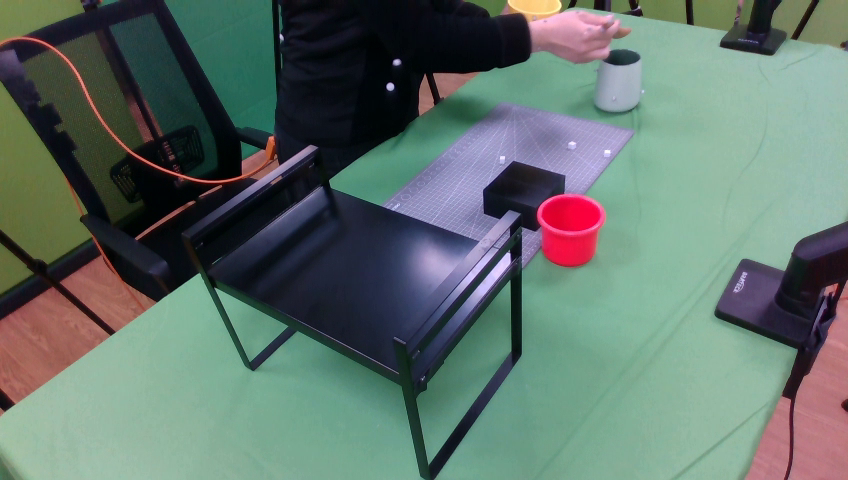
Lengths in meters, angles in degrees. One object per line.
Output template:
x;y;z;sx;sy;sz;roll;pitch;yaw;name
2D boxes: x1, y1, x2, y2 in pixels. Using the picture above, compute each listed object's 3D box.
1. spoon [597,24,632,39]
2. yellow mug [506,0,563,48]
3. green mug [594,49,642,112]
0.317;-0.355;1.022;0.041;0.021;0.195;-4;10;30;spoon
0.207;-0.425;1.151;0.100;0.064;0.130;0;43;-2;yellow mug
0.397;-0.333;1.240;0.092;0.105;0.125;-3;41;7;green mug
